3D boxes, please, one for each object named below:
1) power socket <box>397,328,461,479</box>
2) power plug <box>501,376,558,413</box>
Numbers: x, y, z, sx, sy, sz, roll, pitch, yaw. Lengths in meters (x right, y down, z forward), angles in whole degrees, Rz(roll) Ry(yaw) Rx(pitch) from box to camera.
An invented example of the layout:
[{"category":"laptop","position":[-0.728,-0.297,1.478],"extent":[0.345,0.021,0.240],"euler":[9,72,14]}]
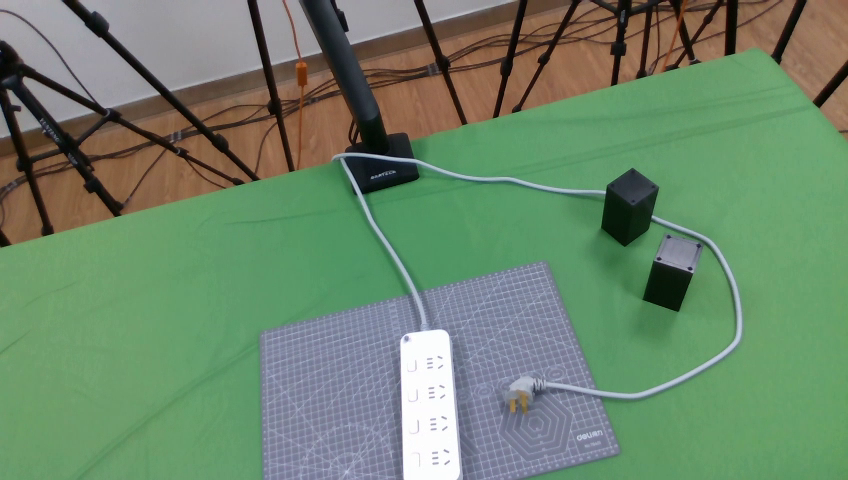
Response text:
[{"category":"power socket","position":[0.004,0.218,0.797],"extent":[0.072,0.033,0.224],"euler":[-7,53,4]},{"category":"power plug","position":[0.135,0.197,0.782],"extent":[0.072,0.035,0.052],"euler":[-12,33,15]}]
